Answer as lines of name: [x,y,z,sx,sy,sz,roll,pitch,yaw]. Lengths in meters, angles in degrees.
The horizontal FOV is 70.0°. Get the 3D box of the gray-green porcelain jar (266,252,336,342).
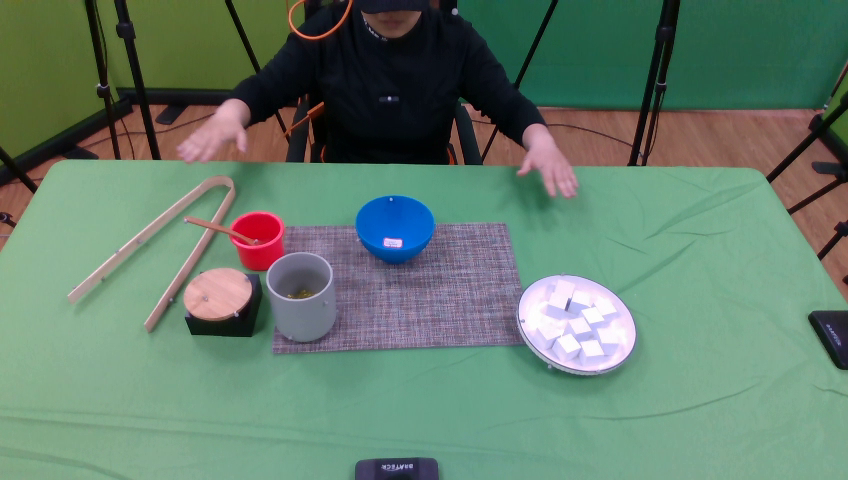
gray-green porcelain jar: [-0.202,0.100,1.009,0.106,0.127,0.105,2,46,-2]

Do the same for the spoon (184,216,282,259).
spoon: [-0.341,-0.008,1.096,0.195,0.021,0.041,29,34,-41]

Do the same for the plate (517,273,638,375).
plate: [0.264,0.149,1.060,0.209,0.038,0.208,3,46,-3]

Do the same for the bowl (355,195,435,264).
bowl: [-0.056,-0.008,1.158,0.151,0.077,0.150,2,46,-2]

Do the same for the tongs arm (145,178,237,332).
tongs arm: [-0.432,0.014,1.149,0.028,0.028,0.385,8,45,7]

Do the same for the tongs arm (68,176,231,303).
tongs arm: [-0.510,-0.010,1.162,0.050,0.026,0.383,20,47,14]

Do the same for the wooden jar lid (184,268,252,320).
wooden jar lid: [-0.343,0.092,1.015,0.108,0.021,0.107,3,46,-3]
